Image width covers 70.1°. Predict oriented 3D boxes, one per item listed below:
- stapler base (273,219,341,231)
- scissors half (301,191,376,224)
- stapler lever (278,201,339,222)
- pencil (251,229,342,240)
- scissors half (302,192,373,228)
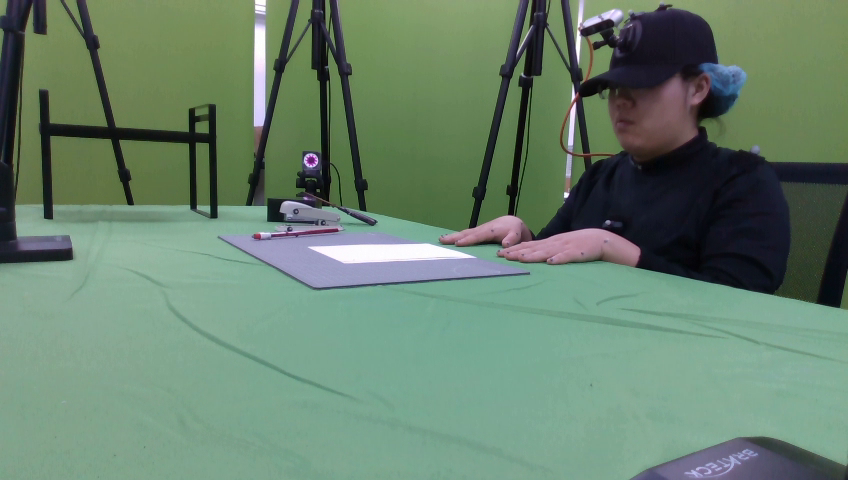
[{"bbox_3d":[-0.225,-0.031,1.172,0.131,0.024,0.041,0,10,-34],"label":"stapler base"},{"bbox_3d":[-0.189,-0.073,1.334,0.175,0.013,0.040,22,12,-10],"label":"scissors half"},{"bbox_3d":[-0.223,-0.055,1.170,0.119,0.040,0.026,-1,11,-34],"label":"stapler lever"},{"bbox_3d":[-0.215,-0.011,1.049,0.012,0.012,0.195,9,9,39],"label":"pencil"},{"bbox_3d":[-0.191,-0.068,1.314,0.175,0.013,0.040,26,17,7],"label":"scissors half"}]
